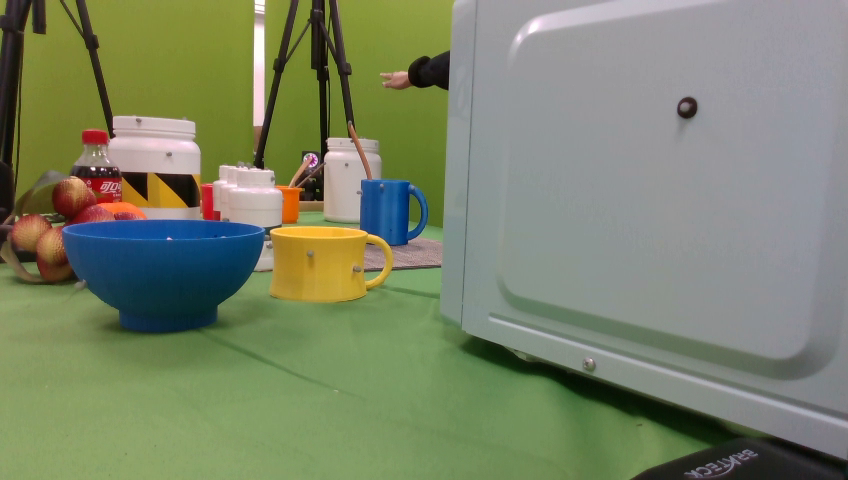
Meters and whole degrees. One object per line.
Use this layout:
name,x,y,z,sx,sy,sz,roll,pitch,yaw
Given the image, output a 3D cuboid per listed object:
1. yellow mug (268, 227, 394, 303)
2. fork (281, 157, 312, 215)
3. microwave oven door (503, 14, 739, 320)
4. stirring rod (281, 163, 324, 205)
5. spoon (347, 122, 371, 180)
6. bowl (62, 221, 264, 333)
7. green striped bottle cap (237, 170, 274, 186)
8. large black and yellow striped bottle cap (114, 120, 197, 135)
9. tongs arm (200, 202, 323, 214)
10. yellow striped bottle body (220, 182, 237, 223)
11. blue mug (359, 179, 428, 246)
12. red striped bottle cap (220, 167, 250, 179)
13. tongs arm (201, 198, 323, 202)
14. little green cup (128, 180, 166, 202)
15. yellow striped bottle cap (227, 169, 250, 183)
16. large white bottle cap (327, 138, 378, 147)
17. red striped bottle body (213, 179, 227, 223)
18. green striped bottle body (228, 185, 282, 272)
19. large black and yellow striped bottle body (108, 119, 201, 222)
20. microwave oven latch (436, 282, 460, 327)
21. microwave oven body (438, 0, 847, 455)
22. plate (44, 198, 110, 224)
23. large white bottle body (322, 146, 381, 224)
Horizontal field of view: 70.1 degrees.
yellow mug,-0.094,0.023,0.629,0.131,0.064,0.099,0,7,-22
fork,-0.290,-0.116,1.321,0.028,0.019,0.207,6,51,19
microwave oven door,0.218,-0.065,0.600,0.358,0.243,0.039,-4,10,-41
stirring rod,-0.278,-0.105,1.293,0.176,0.006,0.014,-47,24,-18
spoon,-0.097,-0.107,1.016,0.021,0.193,0.041,-15,-3,0
bowl,-0.209,0.029,0.496,0.151,0.077,0.151,2,7,0
green striped bottle cap,-0.205,-0.075,0.737,0.044,0.020,0.044,1,6,0
large black and yellow striped bottle cap,-0.407,-0.171,0.920,0.115,0.019,0.115,2,9,0
tongs arm,-0.378,-0.079,1.440,0.387,0.026,0.050,-4,8,-44
yellow striped bottle body,-0.246,-0.036,0.825,0.063,0.120,0.063,3,8,0
blue mug,-0.051,-0.046,1.003,0.116,0.106,0.082,4,8,12
red striped bottle cap,-0.281,-0.100,0.901,0.044,0.017,0.044,-1,5,0
tongs arm,-0.433,-0.090,1.507,0.390,0.028,0.028,-1,2,-30
little green cup,-0.485,-0.087,1.062,0.061,0.038,0.061,-1,6,0
yellow striped bottle cap,-0.243,-0.086,0.818,0.044,0.018,0.044,3,7,0
large white bottle cap,-0.160,-0.218,1.357,0.115,0.018,0.115,2,8,0
red striped bottle body,-0.284,-0.048,0.909,0.063,0.119,0.063,3,10,0
green striped bottle body,-0.208,-0.023,0.745,0.063,0.119,0.063,3,7,0
large black and yellow striped bottle body,-0.412,-0.088,0.930,0.131,0.184,0.130,3,7,0
microwave oven latch,0.045,0.046,0.471,0.079,0.029,0.030,-3,8,-41
microwave oven body,0.280,-0.039,0.464,0.444,0.260,0.324,-3,8,-41
plate,-0.617,-0.056,1.179,0.209,0.038,0.209,3,7,0
large white bottle body,-0.163,-0.135,1.368,0.131,0.184,0.130,2,7,0
